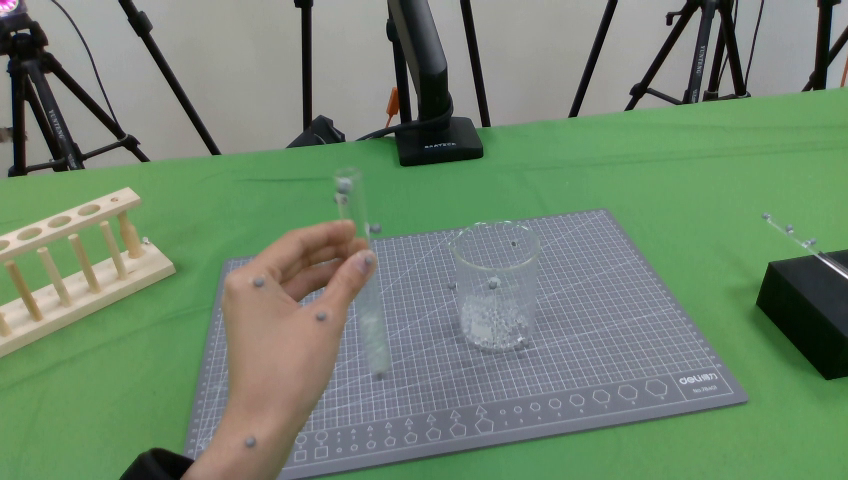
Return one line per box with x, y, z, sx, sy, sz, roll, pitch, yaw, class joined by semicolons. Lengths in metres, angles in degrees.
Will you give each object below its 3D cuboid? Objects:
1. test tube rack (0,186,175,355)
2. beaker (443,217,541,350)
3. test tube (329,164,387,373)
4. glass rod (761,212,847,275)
-0.388;0.039;0.601;0.242;0.086;0.066;-30;44;-32;test tube rack
0.060;0.041;0.540;0.084;0.101;0.073;5;36;14;beaker
-0.038;0.024;0.374;0.017;0.151;0.017;-4;31;3;test tube
0.368;0.026;0.525;0.008;0.008;0.197;-13;36;-12;glass rod
